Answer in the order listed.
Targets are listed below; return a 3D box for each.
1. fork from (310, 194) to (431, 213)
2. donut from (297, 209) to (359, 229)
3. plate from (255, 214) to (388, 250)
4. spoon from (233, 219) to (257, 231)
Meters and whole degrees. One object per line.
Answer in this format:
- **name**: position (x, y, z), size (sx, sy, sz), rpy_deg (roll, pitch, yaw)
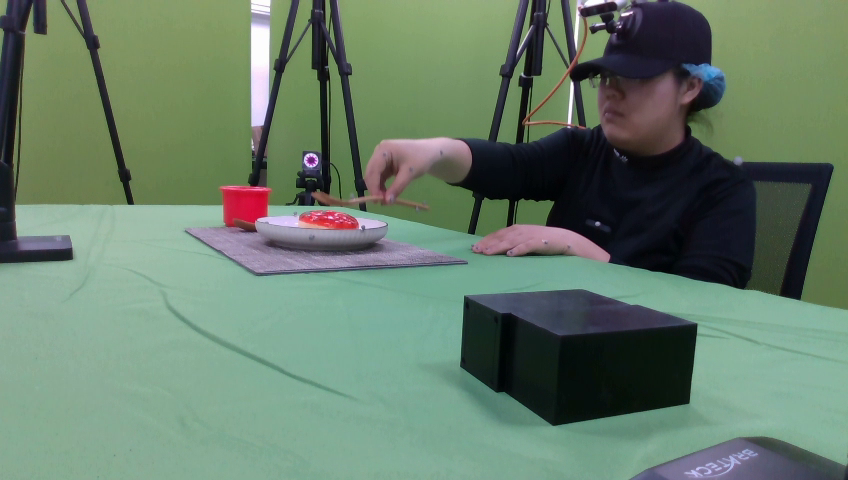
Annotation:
- **fork**: position (-0.065, -0.049, 0.833), size (0.208, 0.018, 0.028), rpy_deg (0, -5, -44)
- **donut**: position (-0.151, -0.023, 0.955), size (0.099, 0.048, 0.099), rpy_deg (6, 7, 0)
- **plate**: position (-0.161, -0.013, 0.961), size (0.209, 0.038, 0.209), rpy_deg (2, 7, 0)
- **spoon**: position (-0.250, -0.028, 1.108), size (0.195, 0.021, 0.041), rpy_deg (-2, -9, -29)
